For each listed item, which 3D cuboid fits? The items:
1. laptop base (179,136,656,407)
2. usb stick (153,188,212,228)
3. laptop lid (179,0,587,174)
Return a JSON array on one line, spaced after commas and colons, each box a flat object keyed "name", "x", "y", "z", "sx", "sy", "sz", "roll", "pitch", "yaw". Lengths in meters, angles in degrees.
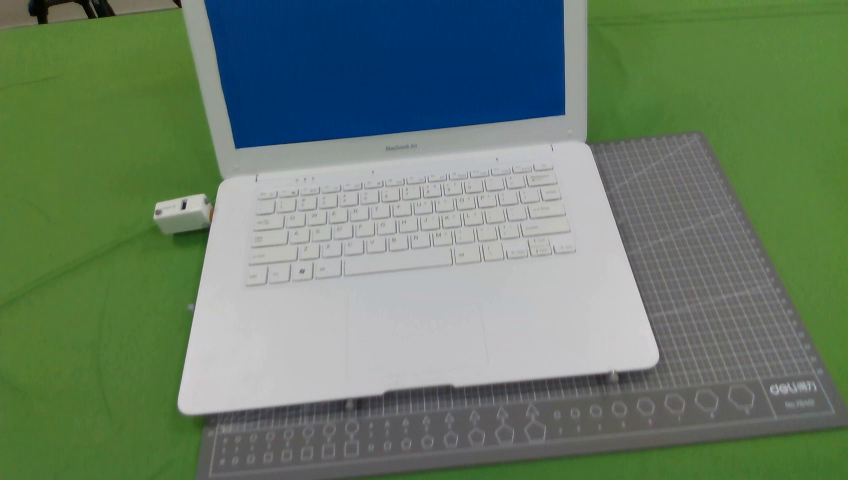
[{"name": "laptop base", "x": -0.013, "y": 0.015, "z": 0.511, "sx": 0.354, "sy": 0.023, "sz": 0.233, "roll": -6, "pitch": 55, "yaw": 0}, {"name": "usb stick", "x": -0.211, "y": -0.029, "z": 0.548, "sx": 0.059, "sy": 0.027, "sz": 0.021, "roll": -8, "pitch": 51, "yaw": 0}, {"name": "laptop lid", "x": -0.032, "y": -0.184, "z": 0.538, "sx": 0.357, "sy": 0.243, "sz": 0.013, "roll": -7, "pitch": 22, "yaw": 1}]
